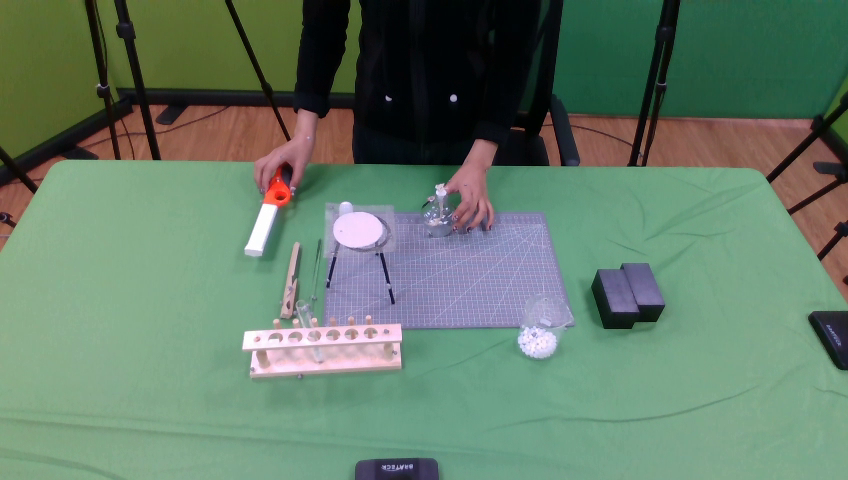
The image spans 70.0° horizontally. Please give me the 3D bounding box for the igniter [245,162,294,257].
[{"bbox_3d":[-0.307,-0.070,1.217,0.057,0.025,0.275,9,44,-3],"label":"igniter"}]

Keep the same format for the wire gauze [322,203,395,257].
[{"bbox_3d":[-0.111,-0.020,1.035,0.121,0.011,0.124,0,47,-7],"label":"wire gauze"}]

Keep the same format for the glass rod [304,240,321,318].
[{"bbox_3d":[-0.206,0.068,1.128,0.008,0.008,0.198,2,43,-2],"label":"glass rod"}]

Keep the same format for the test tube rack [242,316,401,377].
[{"bbox_3d":[-0.161,0.166,0.983,0.242,0.085,0.066,-2,46,-6],"label":"test tube rack"}]

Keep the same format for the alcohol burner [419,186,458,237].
[{"bbox_3d":[0.030,-0.063,1.196,0.078,0.119,0.077,3,48,-3],"label":"alcohol burner"}]

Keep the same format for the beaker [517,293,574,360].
[{"bbox_3d":[0.200,0.149,1.018,0.084,0.101,0.073,14,47,8],"label":"beaker"}]

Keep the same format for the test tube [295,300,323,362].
[{"bbox_3d":[-0.176,0.143,0.935,0.017,0.151,0.017,-2,46,2],"label":"test tube"}]

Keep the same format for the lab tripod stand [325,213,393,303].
[{"bbox_3d":[-0.104,0.031,1.080,0.148,0.132,0.147,4,45,-4],"label":"lab tripod stand"}]

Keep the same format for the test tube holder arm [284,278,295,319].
[{"bbox_3d":[-0.241,0.103,1.085,0.010,0.015,0.087,26,38,-27],"label":"test tube holder arm"}]

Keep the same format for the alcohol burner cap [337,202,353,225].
[{"bbox_3d":[-0.161,-0.056,1.223,0.034,0.048,0.033,2,46,-2],"label":"alcohol burner cap"}]

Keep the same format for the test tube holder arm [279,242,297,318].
[{"bbox_3d":[-0.249,0.069,1.114,0.013,0.015,0.177,26,38,-28],"label":"test tube holder arm"}]
